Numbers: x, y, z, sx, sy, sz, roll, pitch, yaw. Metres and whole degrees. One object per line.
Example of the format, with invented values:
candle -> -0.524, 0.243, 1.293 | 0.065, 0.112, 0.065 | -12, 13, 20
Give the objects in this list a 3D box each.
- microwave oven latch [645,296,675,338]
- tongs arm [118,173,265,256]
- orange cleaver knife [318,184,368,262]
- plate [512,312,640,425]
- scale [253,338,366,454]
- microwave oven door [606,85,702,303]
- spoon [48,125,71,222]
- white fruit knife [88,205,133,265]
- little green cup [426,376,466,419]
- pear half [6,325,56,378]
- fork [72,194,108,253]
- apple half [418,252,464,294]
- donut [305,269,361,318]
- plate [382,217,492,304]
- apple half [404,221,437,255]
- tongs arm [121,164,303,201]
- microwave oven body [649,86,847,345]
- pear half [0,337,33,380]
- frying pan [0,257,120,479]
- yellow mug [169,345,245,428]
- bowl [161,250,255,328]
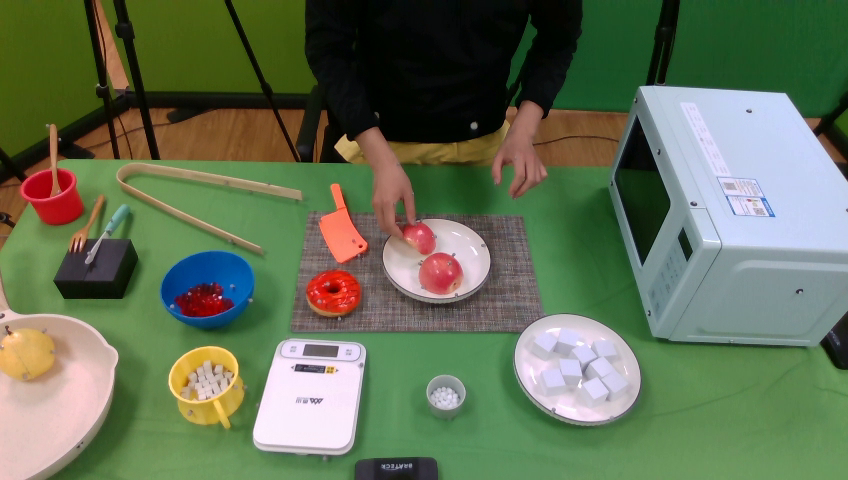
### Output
microwave oven latch -> 0.412, 0.134, 1.061 | 0.030, 0.029, 0.078 | 3, 45, 0
tongs arm -> -0.474, -0.051, 1.213 | 0.386, 0.028, 0.028 | 24, 58, 17
orange cleaver knife -> -0.173, -0.037, 1.219 | 0.077, 0.012, 0.210 | -16, 50, -12
plate -> 0.246, 0.213, 0.999 | 0.208, 0.039, 0.206 | 2, 46, -2
scale -> -0.175, 0.236, 0.951 | 0.149, 0.032, 0.199 | 4, 45, -1
microwave oven door -> 0.423, -0.094, 1.140 | 0.039, 0.245, 0.353 | 2, 46, -1
spoon -> -0.718, -0.131, 1.188 | 0.041, 0.021, 0.193 | -3, 90, -7
white fruit knife -> -0.584, -0.013, 1.129 | 0.016, 0.027, 0.206 | 0, 32, -5
little green cup -> 0.033, 0.248, 0.950 | 0.061, 0.039, 0.061 | 2, 46, -2
pear half -> -0.608, 0.158, 0.935 | 0.076, 0.110, 0.056 | 31, 51, 20
fork -> -0.634, -0.036, 1.158 | 0.028, 0.019, 0.206 | -8, 32, -8
apple half -> 0.033, 0.055, 1.109 | 0.081, 0.053, 0.074 | -28, 57, -27
donut -> -0.160, 0.094, 1.075 | 0.099, 0.048, 0.098 | 4, 45, -3
plate -> 0.024, 0.041, 1.143 | 0.209, 0.038, 0.208 | 2, 46, -2
apple half -> -0.001, -0.010, 1.155 | 0.081, 0.033, 0.081 | 35, 29, -23
tongs arm -> -0.444, -0.114, 1.267 | 0.384, 0.026, 0.050 | 12, 52, 7
microwave oven body -> 0.567, -0.053, 1.118 | 0.326, 0.261, 0.439 | 2, 45, -1
pear half -> -0.631, 0.184, 0.921 | 0.070, 0.088, 0.031 | 29, 49, 19
frying pan -> -0.647, 0.164, 0.936 | 0.307, 0.103, 0.485 | -19, 58, -22
yellow mug -> -0.322, 0.230, 0.922 | 0.100, 0.064, 0.130 | -24, 53, -25
bowl -> -0.362, 0.098, 1.039 | 0.151, 0.077, 0.150 | 2, 45, -2
